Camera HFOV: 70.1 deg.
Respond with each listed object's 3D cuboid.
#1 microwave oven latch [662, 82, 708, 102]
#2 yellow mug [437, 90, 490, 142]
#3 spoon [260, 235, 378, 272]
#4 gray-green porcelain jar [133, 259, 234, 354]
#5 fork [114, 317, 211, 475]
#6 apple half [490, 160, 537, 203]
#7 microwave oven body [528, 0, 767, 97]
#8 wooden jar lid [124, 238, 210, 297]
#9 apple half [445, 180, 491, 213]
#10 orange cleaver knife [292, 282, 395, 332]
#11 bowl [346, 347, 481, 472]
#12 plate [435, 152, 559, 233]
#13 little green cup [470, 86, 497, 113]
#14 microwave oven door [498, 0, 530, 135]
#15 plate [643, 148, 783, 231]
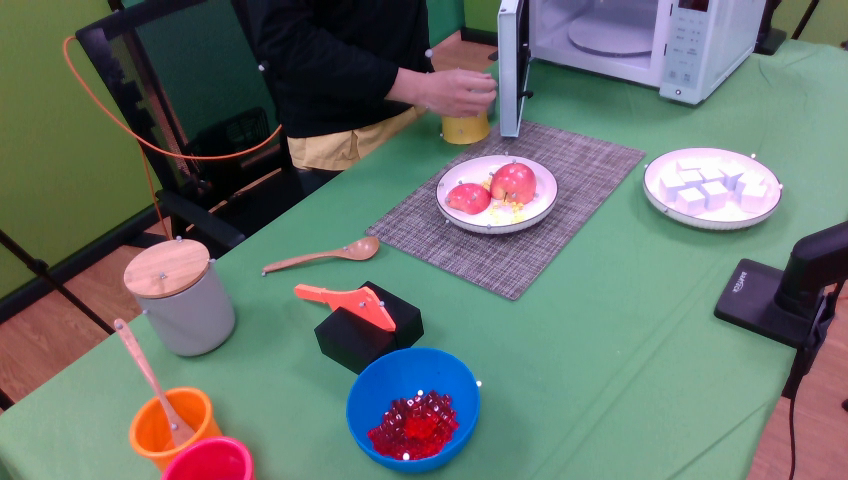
[{"bbox_3d":[0.517,-0.298,1.202,0.078,0.029,0.030,27,52,34],"label":"microwave oven latch"},{"bbox_3d":[0.070,-0.257,1.225,0.100,0.064,0.129,-33,44,-26],"label":"yellow mug"},{"bbox_3d":[-0.167,0.024,0.966,0.194,0.022,0.041,-10,59,-4],"label":"spoon"},{"bbox_3d":[-0.328,0.087,0.836,0.106,0.127,0.105,-4,41,4],"label":"gray-green porcelain jar"},{"bbox_3d":[-0.309,0.180,0.708,0.028,0.018,0.207,-29,89,-25],"label":"fork"},{"bbox_3d":[0.154,-0.106,1.030,0.080,0.053,0.075,22,46,31],"label":"apple half"},{"bbox_3d":[0.473,-0.516,1.313,0.438,0.261,0.327,26,51,34],"label":"microwave oven body"},{"bbox_3d":[-0.335,0.039,0.794,0.108,0.021,0.108,-2,40,2],"label":"wooden jar lid"},{"bbox_3d":[0.076,-0.083,1.029,0.081,0.033,0.081,-2,42,2],"label":"apple half"},{"bbox_3d":[-0.116,0.091,0.835,0.209,0.077,0.012,2,32,48],"label":"orange cleaver knife"},{"bbox_3d":[-0.008,0.205,0.691,0.151,0.077,0.150,-4,40,4],"label":"bowl"},{"bbox_3d":[0.123,-0.078,1.026,0.209,0.038,0.208,-4,40,4],"label":"plate"},{"bbox_3d":[0.124,-0.297,1.285,0.061,0.039,0.061,-3,42,3],"label":"little green cup"},{"bbox_3d":[0.186,-0.411,1.225,0.039,0.245,0.355,3,42,12],"label":"microwave oven door"},{"bbox_3d":[0.464,-0.080,0.986,0.207,0.039,0.206,-4,41,4],"label":"plate"}]
